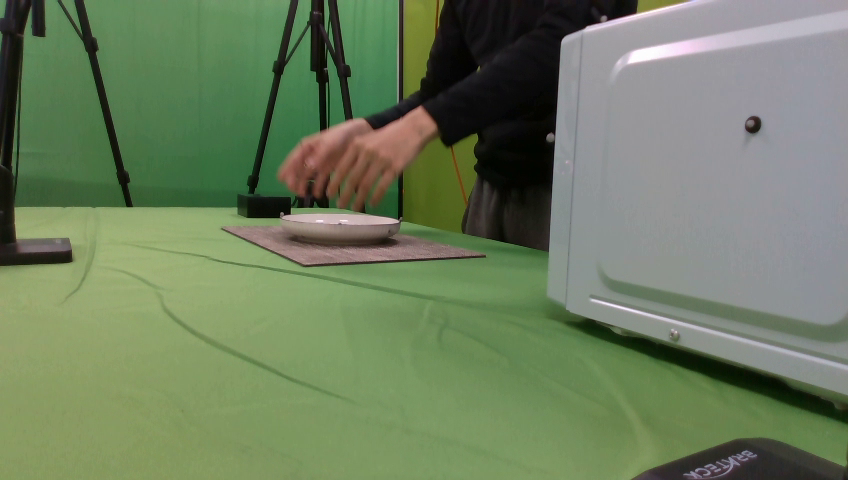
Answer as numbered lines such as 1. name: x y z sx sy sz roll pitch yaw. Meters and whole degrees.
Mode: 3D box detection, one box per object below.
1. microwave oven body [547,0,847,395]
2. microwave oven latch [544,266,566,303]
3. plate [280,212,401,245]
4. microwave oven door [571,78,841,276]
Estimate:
1. microwave oven body: 0.378 -0.046 0.510 0.444 0.260 0.324 -2 7 -31
2. microwave oven latch: 0.147 0.039 0.555 0.079 0.029 0.030 -1 7 -28
3. plate: -0.145 -0.021 1.057 0.209 0.038 0.209 2 8 0
4. microwave oven door: 0.375 -0.093 0.866 0.039 0.243 0.354 -4 9 -42
